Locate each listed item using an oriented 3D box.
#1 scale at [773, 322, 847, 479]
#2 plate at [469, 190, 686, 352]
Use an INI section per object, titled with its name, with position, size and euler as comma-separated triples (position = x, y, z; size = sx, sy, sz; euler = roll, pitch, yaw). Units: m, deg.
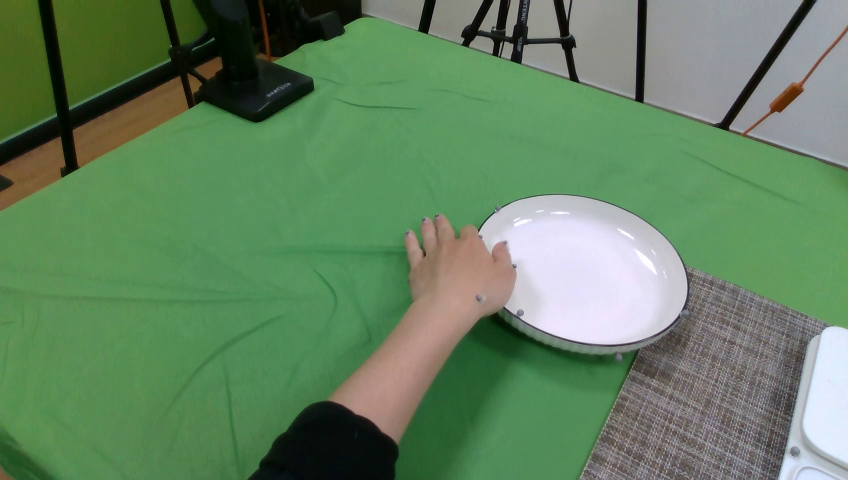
[scale]
position = 0.367, 0.162, 0.473
size = 0.147, 0.032, 0.200
euler = 25, 48, 21
[plate]
position = 0.147, 0.029, 0.600
size = 0.209, 0.038, 0.207
euler = 2, 44, -1
